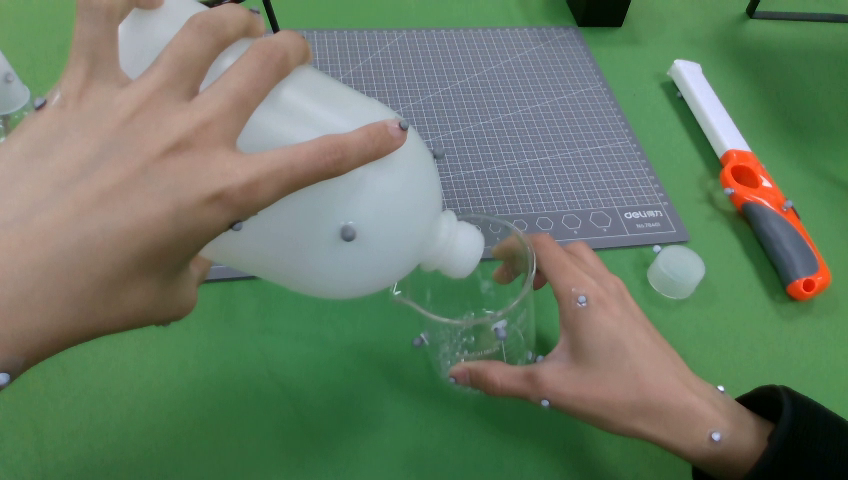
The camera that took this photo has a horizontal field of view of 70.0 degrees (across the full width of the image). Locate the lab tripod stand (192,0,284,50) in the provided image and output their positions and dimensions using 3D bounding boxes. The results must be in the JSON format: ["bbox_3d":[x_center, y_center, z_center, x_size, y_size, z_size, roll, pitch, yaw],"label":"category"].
[{"bbox_3d":[-0.160,-0.148,0.467,0.148,0.132,0.147,4,53,-5],"label":"lab tripod stand"}]

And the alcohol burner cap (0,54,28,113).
[{"bbox_3d":[-0.285,-0.109,0.392,0.034,0.048,0.033,2,58,-4],"label":"alcohol burner cap"}]

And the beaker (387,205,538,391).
[{"bbox_3d":[0.027,0.041,0.362,0.084,0.101,0.073,-19,51,-3],"label":"beaker"}]

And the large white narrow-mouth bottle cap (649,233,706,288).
[{"bbox_3d":[0.191,0.015,0.456,0.038,0.024,0.037,3,52,-3],"label":"large white narrow-mouth bottle cap"}]

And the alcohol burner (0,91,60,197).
[{"bbox_3d":[-0.288,-0.088,0.422,0.078,0.120,0.077,4,50,-5],"label":"alcohol burner"}]

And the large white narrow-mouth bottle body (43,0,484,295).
[{"bbox_3d":[-0.057,-0.029,0.290,0.196,0.102,0.101,23,48,-23],"label":"large white narrow-mouth bottle body"}]

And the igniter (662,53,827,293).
[{"bbox_3d":[0.271,-0.071,0.527,0.057,0.025,0.273,4,52,-17],"label":"igniter"}]
